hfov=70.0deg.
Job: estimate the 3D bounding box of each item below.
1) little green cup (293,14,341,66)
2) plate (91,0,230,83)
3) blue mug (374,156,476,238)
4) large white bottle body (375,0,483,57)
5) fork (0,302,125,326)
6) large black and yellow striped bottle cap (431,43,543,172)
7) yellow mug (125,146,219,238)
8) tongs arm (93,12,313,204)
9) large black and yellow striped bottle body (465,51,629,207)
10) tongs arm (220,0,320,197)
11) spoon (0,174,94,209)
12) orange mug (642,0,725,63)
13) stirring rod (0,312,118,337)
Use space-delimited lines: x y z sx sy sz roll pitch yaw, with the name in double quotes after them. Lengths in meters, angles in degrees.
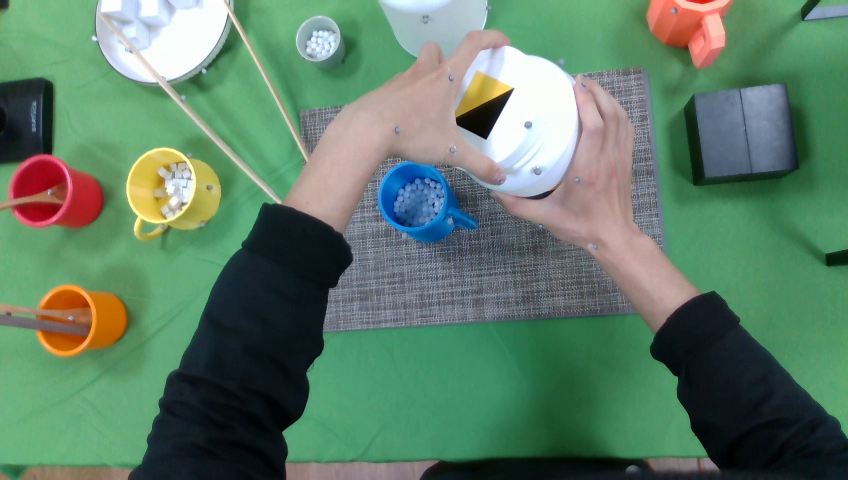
-0.141 -0.265 0.813 0.061 0.039 0.061 -1 86 9 "little green cup"
-0.367 -0.320 0.857 0.207 0.039 0.207 -1 85 10 "plate"
0.008 -0.043 0.730 0.116 0.106 0.082 21 88 11 "blue mug"
-0.001 -0.314 0.719 0.130 0.185 0.130 -1 84 10 "large white bottle body"
-0.503 0.090 0.786 0.209 0.018 0.028 12 84 -33 "fork"
0.053 -0.119 0.542 0.114 0.019 0.114 -11 73 40 "large black and yellow striped bottle cap"
-0.347 -0.057 0.816 0.099 0.064 0.131 34 92 11 "yellow mug"
-0.297 -0.182 0.812 0.051 0.026 0.384 -43 87 0 "tongs arm"
0.110 -0.109 0.607 0.130 0.185 0.130 -6 80 40 "large black and yellow striped bottle body"
-0.231 -0.234 0.810 0.028 0.028 0.387 -29 87 -3 "tongs arm"
-0.545 -0.051 0.809 0.194 0.022 0.041 -22 76 -38 "spoon"
0.313 -0.277 0.706 0.083 0.101 0.125 -15 78 8 "orange mug"
-0.494 0.108 0.786 0.006 0.177 0.014 -21 60 51 "stirring rod"
